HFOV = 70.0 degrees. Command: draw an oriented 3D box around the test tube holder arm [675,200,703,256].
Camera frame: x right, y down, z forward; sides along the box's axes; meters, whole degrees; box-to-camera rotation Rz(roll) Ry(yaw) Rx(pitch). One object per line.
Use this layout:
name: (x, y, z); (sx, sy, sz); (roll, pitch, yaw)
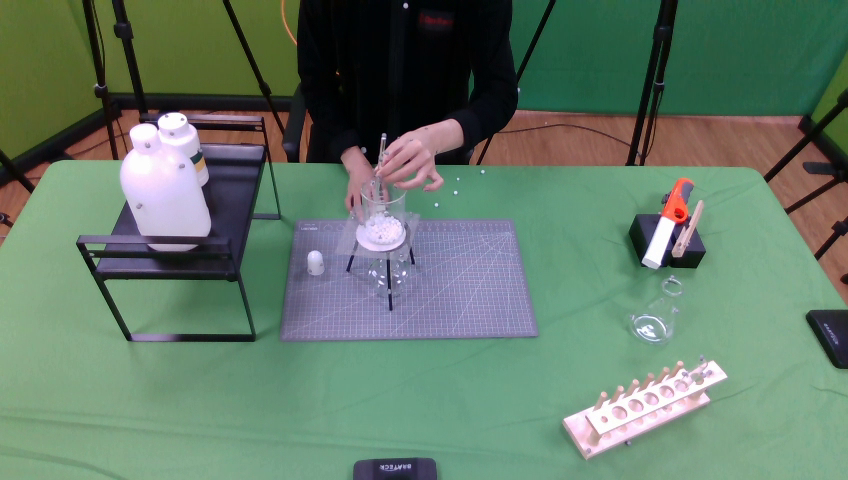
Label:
test tube holder arm: (0.523, -0.025, 1.190); (0.013, 0.015, 0.178); (1, 36, 41)

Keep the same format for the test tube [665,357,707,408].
test tube: (0.386, 0.215, 0.905); (0.017, 0.151, 0.017); (1, 52, -1)

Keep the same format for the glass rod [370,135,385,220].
glass rod: (-0.074, -0.093, 0.960); (0.008, 0.200, 0.008); (5, 53, -7)

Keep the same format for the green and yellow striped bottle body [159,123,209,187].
green and yellow striped bottle body: (-0.395, -0.145, 0.989); (0.063, 0.120, 0.063); (2, 46, -2)

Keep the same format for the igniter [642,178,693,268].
igniter: (0.488, -0.042, 1.205); (0.057, 0.025, 0.276); (30, 51, 11)

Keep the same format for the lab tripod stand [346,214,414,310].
lab tripod stand: (-0.075, 0.030, 1.082); (0.148, 0.132, 0.147); (1, 47, -1)

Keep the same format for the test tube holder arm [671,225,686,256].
test tube holder arm: (0.494, 0.001, 1.166); (0.010, 0.015, 0.087); (2, 36, 42)

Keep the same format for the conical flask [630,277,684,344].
conical flask: (0.408, 0.117, 1.045); (0.075, 0.122, 0.075); (2, 46, -2)

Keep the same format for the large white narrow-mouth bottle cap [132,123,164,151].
large white narrow-mouth bottle cap: (-0.370, -0.138, 0.812); (0.038, 0.024, 0.037); (3, 46, -3)

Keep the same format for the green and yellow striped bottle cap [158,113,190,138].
green and yellow striped bottle cap: (-0.393, -0.180, 0.951); (0.045, 0.020, 0.045); (2, 44, -2)

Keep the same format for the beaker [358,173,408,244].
beaker: (-0.066, -0.050, 1.001); (0.084, 0.101, 0.073); (-18, 49, -20)

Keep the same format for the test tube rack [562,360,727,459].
test tube rack: (0.341, 0.247, 0.940); (0.243, 0.085, 0.066); (-16, 49, -18)

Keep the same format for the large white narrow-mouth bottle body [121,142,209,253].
large white narrow-mouth bottle body: (-0.378, -0.077, 0.875); (0.102, 0.195, 0.101); (3, 46, -3)

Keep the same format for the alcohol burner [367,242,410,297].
alcohol burner: (-0.064, 0.047, 1.080); (0.078, 0.120, 0.077); (1, 47, -1)

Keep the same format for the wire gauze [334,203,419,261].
wire gauze: (-0.079, -0.013, 1.031); (0.121, 0.011, 0.124); (8, 48, 7)

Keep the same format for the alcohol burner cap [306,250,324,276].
alcohol burner cap: (-0.204, 0.040, 1.125); (0.034, 0.048, 0.033); (2, 46, -2)
